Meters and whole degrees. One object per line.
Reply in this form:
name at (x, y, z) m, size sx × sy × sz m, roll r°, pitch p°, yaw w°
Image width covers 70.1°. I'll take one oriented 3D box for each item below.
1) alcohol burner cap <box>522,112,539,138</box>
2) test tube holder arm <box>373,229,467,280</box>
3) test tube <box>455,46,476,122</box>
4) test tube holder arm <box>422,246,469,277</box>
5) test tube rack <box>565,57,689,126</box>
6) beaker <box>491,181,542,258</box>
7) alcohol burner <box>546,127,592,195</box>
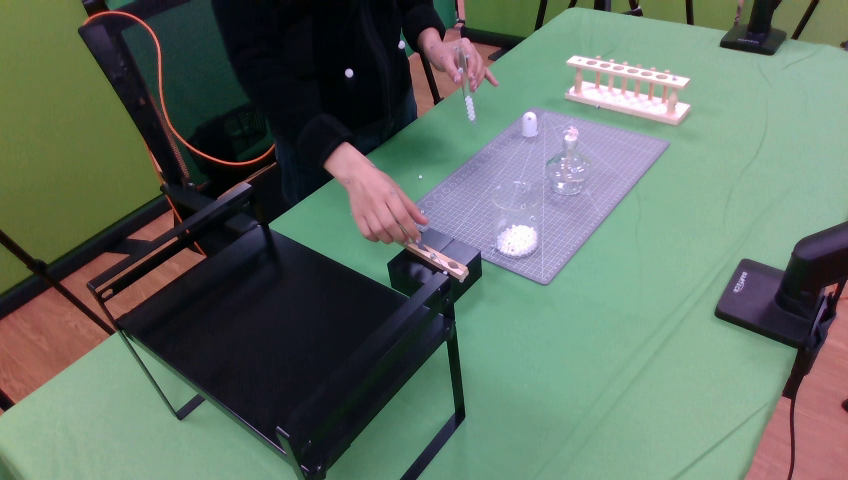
alcohol burner cap at (0.210, -0.230, 1.195) m, size 0.034 × 0.048 × 0.033 m, roll -6°, pitch 41°, yaw 6°
test tube holder arm at (-0.010, 0.019, 0.885) m, size 0.177 × 0.015 × 0.013 m, roll 23°, pitch 48°, yaw 33°
test tube at (0.075, -0.276, 1.082) m, size 0.017 × 0.151 × 0.017 m, roll -8°, pitch 44°, yaw 9°
test tube holder arm at (0.028, 0.031, 0.864) m, size 0.087 × 0.015 × 0.010 m, roll 25°, pitch 49°, yaw 34°
test tube rack at (0.412, -0.311, 1.230) m, size 0.240 × 0.085 × 0.067 m, roll 24°, pitch 49°, yaw 32°
beaker at (0.144, -0.030, 0.925) m, size 0.073 × 0.101 × 0.084 m, roll 22°, pitch 48°, yaw 31°
alcohol burner at (0.246, -0.137, 1.023) m, size 0.078 × 0.119 × 0.077 m, roll -4°, pitch 38°, yaw 4°
